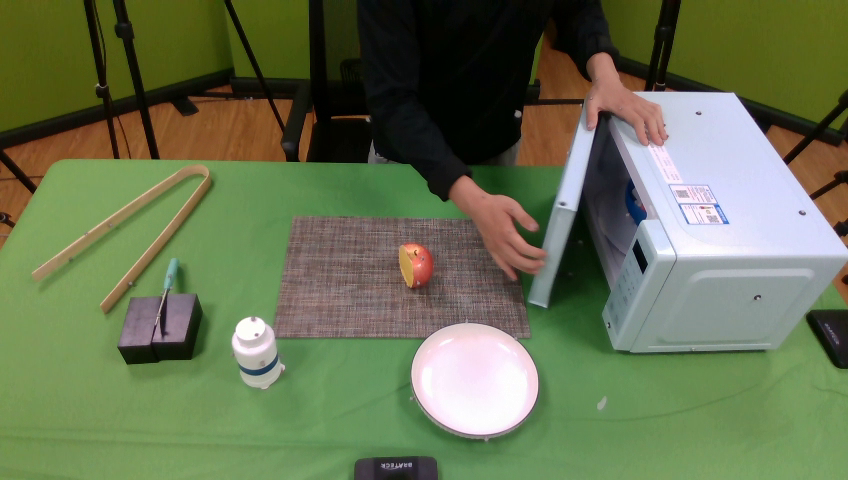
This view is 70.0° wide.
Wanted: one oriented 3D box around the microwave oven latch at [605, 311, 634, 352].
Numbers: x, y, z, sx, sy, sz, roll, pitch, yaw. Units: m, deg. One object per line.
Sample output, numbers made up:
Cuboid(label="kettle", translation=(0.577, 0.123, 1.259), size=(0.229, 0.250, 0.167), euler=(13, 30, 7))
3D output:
Cuboid(label="microwave oven latch", translation=(0.334, 0.153, 1.044), size=(0.030, 0.029, 0.078), euler=(2, 45, -1))

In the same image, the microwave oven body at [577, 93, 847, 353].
Cuboid(label="microwave oven body", translation=(0.476, -0.041, 1.110), size=(0.326, 0.261, 0.438), euler=(-1, 45, -4))

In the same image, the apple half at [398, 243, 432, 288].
Cuboid(label="apple half", translation=(-0.012, 0.047, 1.115), size=(0.053, 0.075, 0.080), euler=(-10, 43, -21))

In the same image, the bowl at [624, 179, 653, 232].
Cuboid(label="bowl", translation=(0.452, -0.048, 1.170), size=(0.151, 0.077, 0.150), euler=(7, 35, -5))

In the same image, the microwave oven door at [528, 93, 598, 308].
Cuboid(label="microwave oven door", translation=(0.264, -0.082, 1.127), size=(0.039, 0.245, 0.354), euler=(15, 47, 10))

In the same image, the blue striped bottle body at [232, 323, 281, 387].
Cuboid(label="blue striped bottle body", translation=(-0.262, 0.172, 0.944), size=(0.063, 0.121, 0.062), euler=(2, 46, -2))

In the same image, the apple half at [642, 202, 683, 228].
Cuboid(label="apple half", translation=(0.458, -0.055, 1.159), size=(0.081, 0.033, 0.081), euler=(0, 31, 0))

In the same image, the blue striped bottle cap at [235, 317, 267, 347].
Cuboid(label="blue striped bottle cap", translation=(-0.259, 0.137, 0.907), size=(0.044, 0.021, 0.044), euler=(3, 43, -2))

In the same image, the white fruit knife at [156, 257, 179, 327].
Cuboid(label="white fruit knife", translation=(-0.440, 0.085, 1.037), size=(0.016, 0.027, 0.206), euler=(10, 26, -19))

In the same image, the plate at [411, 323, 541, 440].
Cuboid(label="plate", translation=(0.082, 0.228, 0.976), size=(0.208, 0.039, 0.206), euler=(2, 45, -2))

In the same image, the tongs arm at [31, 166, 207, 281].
Cuboid(label="tongs arm", translation=(-0.578, -0.040, 1.184), size=(0.050, 0.026, 0.384), euler=(23, 48, 17))

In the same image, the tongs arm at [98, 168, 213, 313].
Cuboid(label="tongs arm", translation=(-0.503, -0.012, 1.167), size=(0.028, 0.028, 0.385), euler=(11, 46, 11))
